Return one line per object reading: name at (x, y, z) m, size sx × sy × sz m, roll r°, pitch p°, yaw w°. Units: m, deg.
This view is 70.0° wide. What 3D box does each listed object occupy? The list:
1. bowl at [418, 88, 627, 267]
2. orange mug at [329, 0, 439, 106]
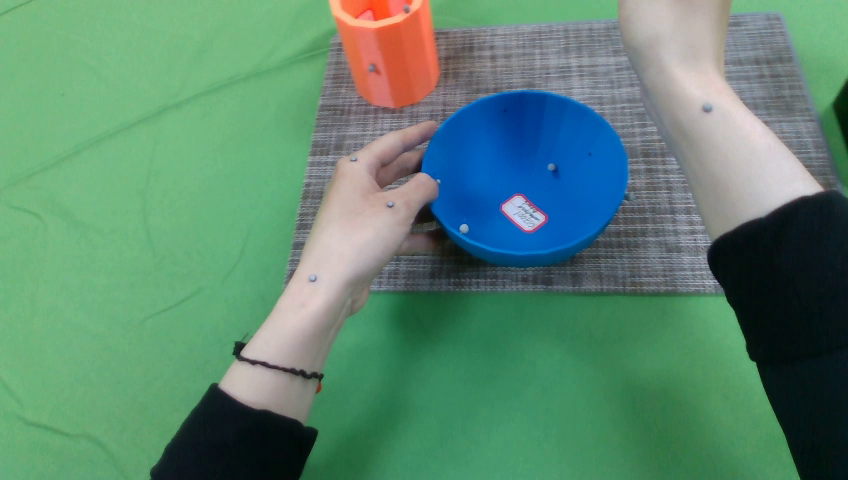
bowl at (0.074, -0.036, 0.472) m, size 0.151 × 0.077 × 0.150 m, roll -3°, pitch 60°, yaw 6°
orange mug at (-0.030, -0.206, 0.573) m, size 0.083 × 0.101 × 0.125 m, roll 11°, pitch 67°, yaw 14°
